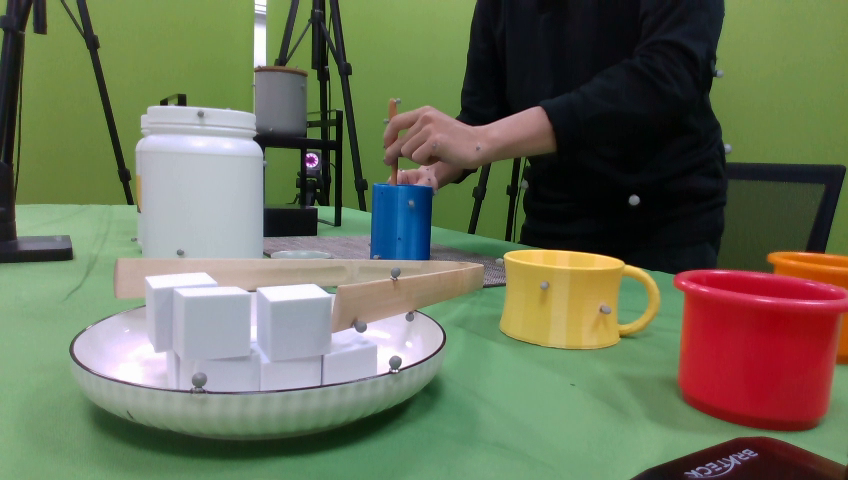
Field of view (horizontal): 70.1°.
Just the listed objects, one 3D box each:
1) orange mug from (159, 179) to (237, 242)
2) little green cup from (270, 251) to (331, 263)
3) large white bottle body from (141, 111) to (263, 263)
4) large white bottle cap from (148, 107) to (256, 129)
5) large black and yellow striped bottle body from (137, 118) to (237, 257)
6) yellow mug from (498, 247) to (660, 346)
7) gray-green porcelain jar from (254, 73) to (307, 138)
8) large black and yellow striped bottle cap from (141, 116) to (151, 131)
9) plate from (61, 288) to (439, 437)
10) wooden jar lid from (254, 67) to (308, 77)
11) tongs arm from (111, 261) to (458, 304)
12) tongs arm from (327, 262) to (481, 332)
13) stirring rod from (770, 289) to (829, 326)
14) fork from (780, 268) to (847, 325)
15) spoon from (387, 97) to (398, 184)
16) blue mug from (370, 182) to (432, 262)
[{"bbox_3d":[-0.368,-0.051,0.991,0.127,0.101,0.083,-10,14,-41],"label":"orange mug"},{"bbox_3d":[-0.129,0.034,0.629,0.061,0.038,0.061,3,7,0],"label":"little green cup"},{"bbox_3d":[-0.254,-0.053,0.697,0.131,0.184,0.130,2,7,0],"label":"large white bottle body"},{"bbox_3d":[-0.250,-0.137,0.686,0.115,0.018,0.115,3,8,0],"label":"large white bottle cap"},{"bbox_3d":[-0.330,-0.075,0.849,0.131,0.184,0.130,2,8,0],"label":"large black and yellow striped bottle body"},{"bbox_3d":[0.130,0.045,0.508,0.131,0.064,0.100,4,7,6],"label":"yellow mug"},{"bbox_3d":[-0.298,-0.277,1.259,0.106,0.126,0.106,3,7,0],"label":"gray-green porcelain jar"},{"bbox_3d":[-0.328,-0.158,0.837,0.115,0.019,0.115,2,6,0],"label":"large black and yellow striped bottle cap"},{"bbox_3d":[-0.095,0.069,0.362,0.208,0.039,0.207,3,7,0],"label":"plate"},{"bbox_3d":[-0.296,-0.339,1.250,0.108,0.020,0.108,1,7,0],"label":"wooden jar lid"},{"bbox_3d":[-0.080,0.032,0.527,0.028,0.027,0.389,-3,-3,33],"label":"tongs arm"},{"bbox_3d":[-0.003,0.036,0.493,0.050,0.026,0.386,1,0,19],"label":"tongs arm"},{"bbox_3d":[0.349,0.022,0.468,0.014,0.006,0.175,-12,-26,-50],"label":"stirring rod"},{"bbox_3d":[0.324,0.018,0.441,0.028,0.018,0.207,-3,-36,-5],"label":"fork"},{"bbox_3d":[-0.044,-0.095,0.818,0.041,0.193,0.022,7,8,42],"label":"spoon"},{"bbox_3d":[-0.027,-0.027,0.837,0.082,0.106,0.117,4,7,16],"label":"blue mug"}]
